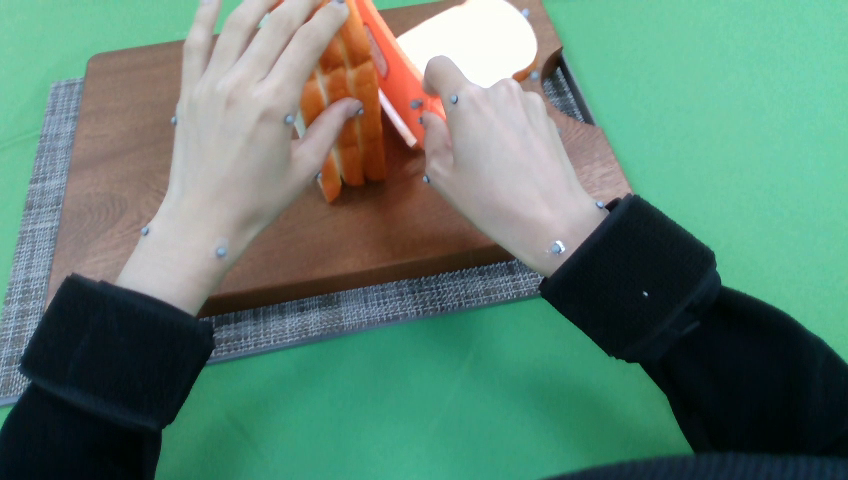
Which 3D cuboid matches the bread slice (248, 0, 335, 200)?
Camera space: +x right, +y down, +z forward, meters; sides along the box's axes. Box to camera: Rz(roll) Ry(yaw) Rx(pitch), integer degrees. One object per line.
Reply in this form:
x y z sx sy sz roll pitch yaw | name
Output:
-0.091 -0.109 0.405 0.018 0.135 0.106 -21 53 -14 | bread slice

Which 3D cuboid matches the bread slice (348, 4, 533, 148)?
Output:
0.019 -0.134 0.477 0.131 0.019 0.104 -28 60 -6 | bread slice

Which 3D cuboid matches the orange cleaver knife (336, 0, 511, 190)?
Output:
-0.010 -0.099 0.404 0.012 0.078 0.209 -26 63 -19 | orange cleaver knife
